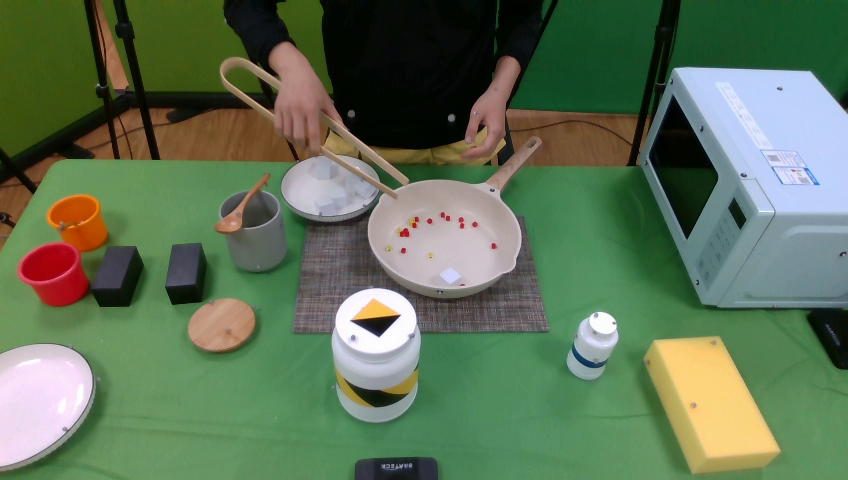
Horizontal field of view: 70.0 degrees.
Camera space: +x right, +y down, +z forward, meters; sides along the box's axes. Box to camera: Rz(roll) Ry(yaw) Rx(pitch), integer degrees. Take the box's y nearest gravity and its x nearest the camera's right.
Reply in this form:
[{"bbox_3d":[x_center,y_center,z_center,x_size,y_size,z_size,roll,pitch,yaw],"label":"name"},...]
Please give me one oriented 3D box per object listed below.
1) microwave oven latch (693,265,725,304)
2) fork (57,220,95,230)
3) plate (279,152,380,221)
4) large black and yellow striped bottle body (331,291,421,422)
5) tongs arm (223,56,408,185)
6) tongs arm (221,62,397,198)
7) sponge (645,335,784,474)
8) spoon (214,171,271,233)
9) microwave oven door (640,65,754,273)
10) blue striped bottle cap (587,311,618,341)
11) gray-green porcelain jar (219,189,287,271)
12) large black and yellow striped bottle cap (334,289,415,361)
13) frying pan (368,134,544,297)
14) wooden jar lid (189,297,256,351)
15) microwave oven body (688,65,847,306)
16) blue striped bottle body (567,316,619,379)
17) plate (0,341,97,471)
[{"bbox_3d":[0.523,0.081,1.116,0.030,0.029,0.078,2,46,-1],"label":"microwave oven latch"},{"bbox_3d":[-0.624,-0.027,1.086,0.028,0.207,0.018,-2,91,-17],"label":"fork"},{"bbox_3d":[-0.197,-0.107,1.269,0.208,0.039,0.206,2,45,-2],"label":"plate"},{"bbox_3d":[-0.071,0.175,0.911,0.131,0.185,0.130,2,47,-2],"label":"large black and yellow striped bottle body"},{"bbox_3d":[-0.193,-0.208,1.075,0.384,0.026,0.050,39,70,4],"label":"tongs arm"},{"bbox_3d":[-0.206,-0.189,1.066,0.387,0.028,0.028,35,73,2],"label":"tongs arm"},{"bbox_3d":[0.449,0.253,0.956,0.118,0.061,0.205,-4,46,-7],"label":"sponge"},{"bbox_3d":[-0.312,-0.070,1.070,0.041,0.022,0.193,10,43,10],"label":"spoon"},{"bbox_3d":[0.522,-0.147,1.193,0.039,0.245,0.353,0,47,-3],"label":"microwave oven door"},{"bbox_3d":[0.279,0.134,0.947,0.044,0.021,0.044,2,45,-2],"label":"blue striped bottle cap"},{"bbox_3d":[-0.310,-0.014,1.113,0.106,0.127,0.105,2,46,-2],"label":"gray-green porcelain jar"},{"bbox_3d":[-0.069,0.117,0.850,0.115,0.019,0.114,2,45,-2],"label":"large black and yellow striped bottle cap"},{"bbox_3d":[0.104,-0.069,1.205,0.305,0.103,0.487,33,61,23],"label":"frying pan"},{"bbox_3d":[-0.342,0.145,1.033,0.108,0.021,0.107,2,45,-2],"label":"wooden jar lid"},{"bbox_3d":[0.669,-0.111,1.176,0.326,0.261,0.439,0,46,-3],"label":"microwave oven body"},{"bbox_3d":[0.276,0.168,0.984,0.063,0.121,0.062,2,46,-2],"label":"blue striped bottle body"},{"bbox_3d":[-0.599,0.247,0.904,0.209,0.038,0.208,2,47,-2],"label":"plate"}]
